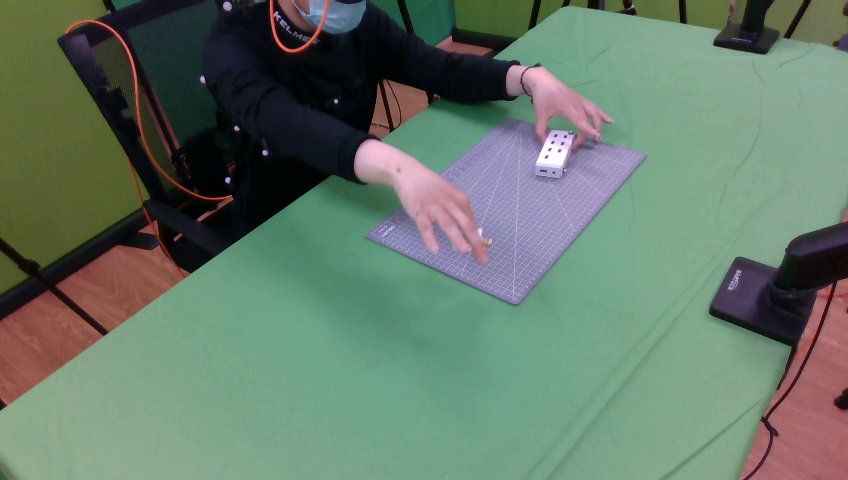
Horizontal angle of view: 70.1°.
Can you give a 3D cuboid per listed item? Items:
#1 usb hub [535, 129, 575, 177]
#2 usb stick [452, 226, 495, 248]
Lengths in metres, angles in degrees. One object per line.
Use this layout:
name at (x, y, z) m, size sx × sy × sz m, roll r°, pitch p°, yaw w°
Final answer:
usb hub at (0.243, -0.161, 1.115) m, size 0.049 × 0.025 × 0.125 m, roll 11°, pitch 44°, yaw 20°
usb stick at (0.071, -0.004, 0.860) m, size 0.059 × 0.027 × 0.021 m, roll 0°, pitch 34°, yaw 10°
